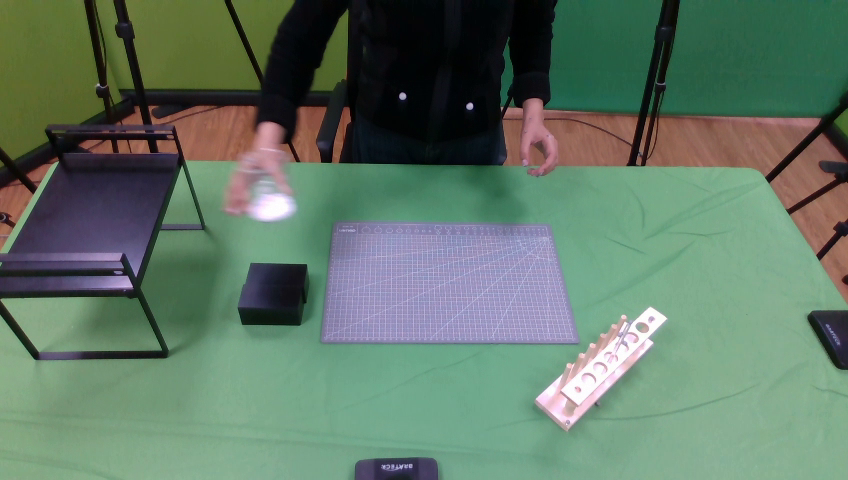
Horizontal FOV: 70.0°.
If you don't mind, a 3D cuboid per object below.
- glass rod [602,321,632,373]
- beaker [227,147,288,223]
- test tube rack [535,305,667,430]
[{"bbox_3d":[0.286,0.173,0.913,0.008,0.201,0.008,-1,53,1],"label":"glass rod"},{"bbox_3d":[-0.254,-0.085,0.949,0.084,0.101,0.073,-26,42,-28],"label":"beaker"},{"bbox_3d":[0.290,0.193,0.984,0.242,0.085,0.066,-32,57,-30],"label":"test tube rack"}]
